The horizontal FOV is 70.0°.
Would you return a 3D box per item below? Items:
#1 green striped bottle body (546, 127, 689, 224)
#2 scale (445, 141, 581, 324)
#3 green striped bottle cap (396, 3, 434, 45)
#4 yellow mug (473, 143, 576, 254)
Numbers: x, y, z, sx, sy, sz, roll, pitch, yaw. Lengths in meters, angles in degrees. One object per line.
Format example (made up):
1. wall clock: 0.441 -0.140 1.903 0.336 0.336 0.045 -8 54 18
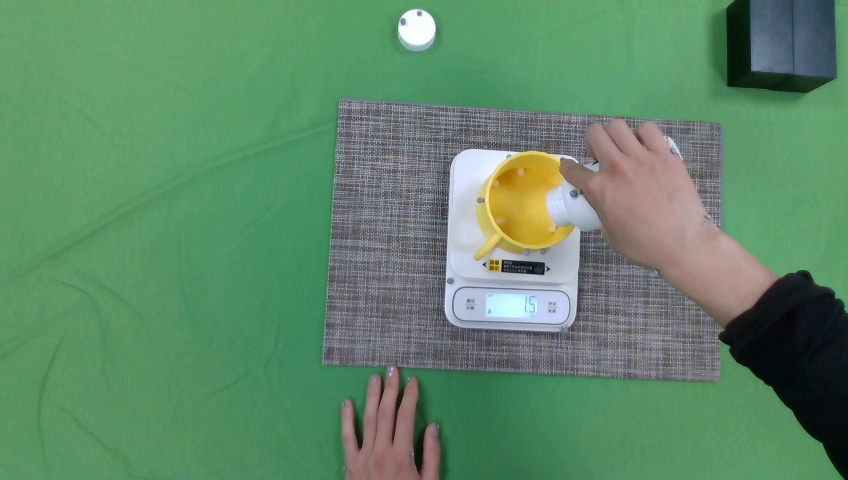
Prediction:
1. green striped bottle body: 0.175 -0.054 0.560 0.119 0.063 0.063 -19 85 34
2. scale: 0.101 -0.008 0.677 0.149 0.031 0.200 2 86 -2
3. green striped bottle cap: -0.011 -0.251 0.704 0.044 0.020 0.044 0 88 -2
4. yellow mug: 0.097 -0.033 0.632 0.100 0.064 0.131 43 85 1
